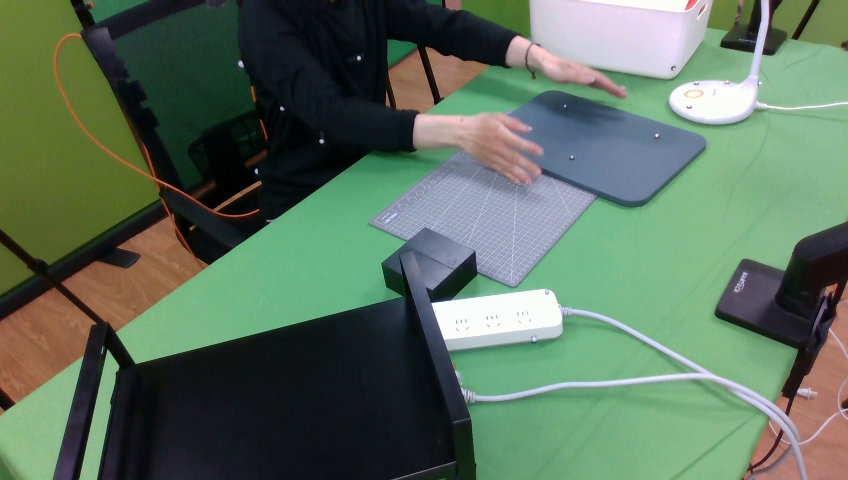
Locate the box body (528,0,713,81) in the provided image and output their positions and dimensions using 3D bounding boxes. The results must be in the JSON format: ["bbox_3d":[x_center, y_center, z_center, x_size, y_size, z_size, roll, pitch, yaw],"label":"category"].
[{"bbox_3d":[0.450,-0.512,1.398,0.361,0.161,0.254,19,48,28],"label":"box body"}]

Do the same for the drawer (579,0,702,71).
[{"bbox_3d":[0.484,-0.489,1.360,0.210,0.073,0.194,24,63,21],"label":"drawer"}]

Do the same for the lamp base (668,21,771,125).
[{"bbox_3d":[0.577,-0.333,1.155,0.179,0.181,0.160,6,42,12],"label":"lamp base"}]

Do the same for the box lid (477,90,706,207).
[{"bbox_3d":[0.310,-0.190,1.157,0.368,0.015,0.264,30,52,35],"label":"box lid"}]

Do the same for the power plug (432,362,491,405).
[{"bbox_3d":[0.045,0.182,0.758,0.073,0.035,0.052,21,43,-18],"label":"power plug"}]

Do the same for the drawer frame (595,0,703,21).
[{"bbox_3d":[0.487,-0.489,1.360,0.212,0.083,0.202,24,62,20],"label":"drawer frame"}]

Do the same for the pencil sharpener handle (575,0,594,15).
[{"bbox_3d":[0.401,-0.594,1.511,0.036,0.067,0.030,37,49,-1],"label":"pencil sharpener handle"}]

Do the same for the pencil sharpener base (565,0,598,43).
[{"bbox_3d":[0.388,-0.549,1.483,0.061,0.107,0.077,14,44,23],"label":"pencil sharpener base"}]

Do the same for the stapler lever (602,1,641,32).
[{"bbox_3d":[0.451,-0.517,1.378,0.118,0.040,0.026,-39,63,-18],"label":"stapler lever"}]

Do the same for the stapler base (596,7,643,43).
[{"bbox_3d":[0.453,-0.502,1.397,0.131,0.024,0.041,-39,63,-19],"label":"stapler base"}]

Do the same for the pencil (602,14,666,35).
[{"bbox_3d":[0.483,-0.495,1.388,0.195,0.012,0.012,-22,42,-20],"label":"pencil"}]

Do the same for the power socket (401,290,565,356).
[{"bbox_3d":[0.080,0.112,0.822,0.227,0.033,0.072,-7,41,0],"label":"power socket"}]
